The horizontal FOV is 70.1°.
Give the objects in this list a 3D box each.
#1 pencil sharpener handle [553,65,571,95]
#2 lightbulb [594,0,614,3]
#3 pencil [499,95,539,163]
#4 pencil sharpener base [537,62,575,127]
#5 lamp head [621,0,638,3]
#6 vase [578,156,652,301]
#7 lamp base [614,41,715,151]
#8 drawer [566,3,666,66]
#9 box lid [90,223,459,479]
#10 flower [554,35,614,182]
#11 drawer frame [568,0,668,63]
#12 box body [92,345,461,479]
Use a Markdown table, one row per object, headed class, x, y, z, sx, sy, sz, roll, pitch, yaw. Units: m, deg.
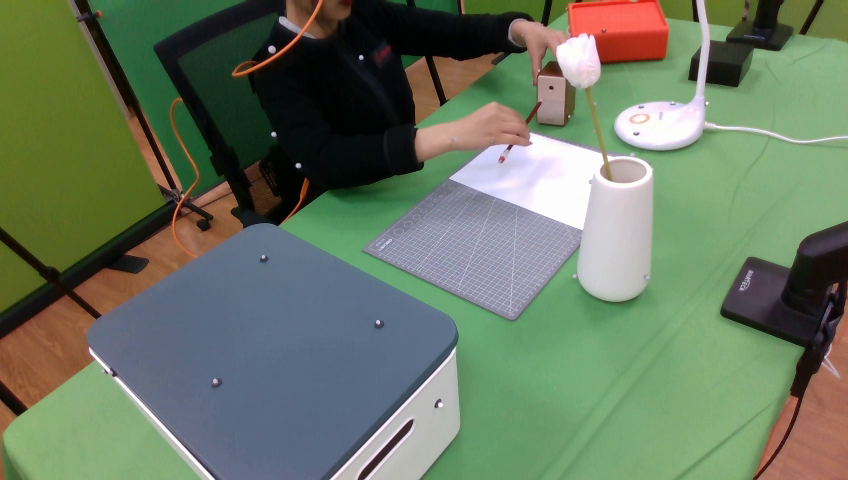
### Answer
| class | x | y | z | sx | sy | sz | roll | pitch | yaw |
| --- | --- | --- | --- | --- | --- | --- | --- | --- | --- |
| pencil sharpener handle | 0.289 | -0.333 | 1.244 | 0.036 | 0.068 | 0.030 | 5 | 39 | 28 |
| lightbulb | 0.305 | -0.437 | 0.977 | 0.060 | 0.107 | 0.059 | 12 | 44 | -11 |
| pencil | 0.173 | -0.203 | 1.083 | 0.012 | 0.012 | 0.194 | 13 | 53 | 25 |
| pencil sharpener base | 0.267 | -0.294 | 1.217 | 0.061 | 0.107 | 0.077 | 11 | 42 | 24 |
| lamp head | 0.319 | -0.453 | 0.962 | 0.113 | 0.123 | 0.112 | 20 | 33 | -13 |
| vase | 0.261 | -0.011 | 0.812 | 0.098 | 0.201 | 0.097 | -4 | 40 | 4 |
| lamp base | 0.449 | -0.277 | 1.106 | 0.179 | 0.181 | 0.160 | 1 | 41 | 9 |
| drawer | 0.448 | -0.493 | 1.440 | 0.211 | 0.073 | 0.194 | 0 | 40 | 10 |
| box lid | -0.174 | 0.102 | 0.666 | 0.368 | 0.015 | 0.264 | 24 | 48 | 35 |
| flower | 0.237 | -0.083 | 0.774 | 0.044 | 0.363 | 0.038 | -22 | 26 | 7 |
| drawer frame | 0.450 | -0.496 | 1.441 | 0.213 | 0.083 | 0.201 | -1 | 40 | 9 |
| box body | -0.162 | 0.170 | 0.708 | 0.361 | 0.161 | 0.255 | 25 | 50 | 34 |
